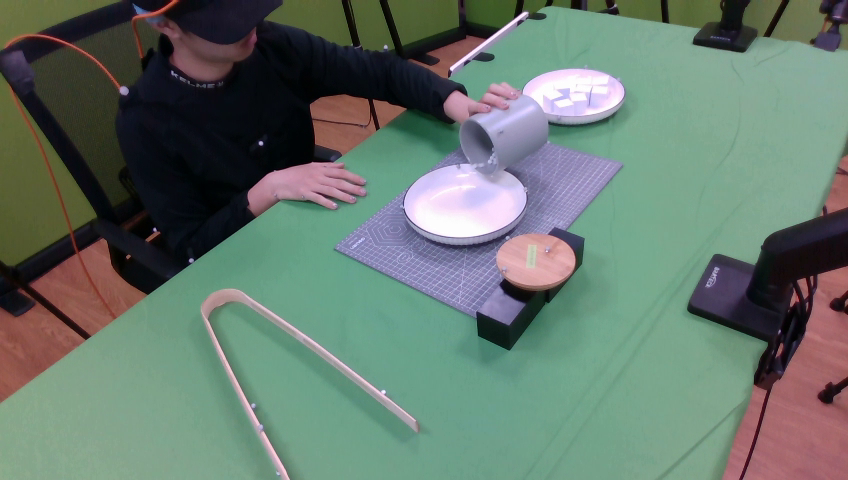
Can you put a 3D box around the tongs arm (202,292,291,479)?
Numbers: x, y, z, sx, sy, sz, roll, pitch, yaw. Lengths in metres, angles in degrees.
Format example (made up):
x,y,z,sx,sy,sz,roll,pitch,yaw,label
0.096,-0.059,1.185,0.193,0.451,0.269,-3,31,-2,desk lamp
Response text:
x,y,z,sx,sy,sz,roll,pitch,yaw,label
-0.216,0.187,0.772,0.051,0.026,0.381,-27,43,-24,tongs arm

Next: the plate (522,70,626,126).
x,y,z,sx,sy,sz,roll,pitch,yaw,label
0.308,-0.289,1.251,0.207,0.039,0.206,-4,40,4,plate

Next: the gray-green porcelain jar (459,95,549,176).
x,y,z,sx,sy,sz,roll,pitch,yaw,label
0.141,-0.183,1.035,0.127,0.106,0.105,-30,45,-22,gray-green porcelain jar

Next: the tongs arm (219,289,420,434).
x,y,z,sx,sy,sz,roll,pitch,yaw,label
-0.152,0.151,0.812,0.384,0.028,0.028,26,53,33,tongs arm

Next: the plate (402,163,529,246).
x,y,z,sx,sy,sz,roll,pitch,yaw,label
0.069,-0.056,1.008,0.209,0.038,0.208,-4,40,4,plate

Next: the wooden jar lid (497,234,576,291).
x,y,z,sx,sy,sz,roll,pitch,yaw,label
0.155,0.032,0.834,0.108,0.021,0.108,-5,40,4,wooden jar lid
